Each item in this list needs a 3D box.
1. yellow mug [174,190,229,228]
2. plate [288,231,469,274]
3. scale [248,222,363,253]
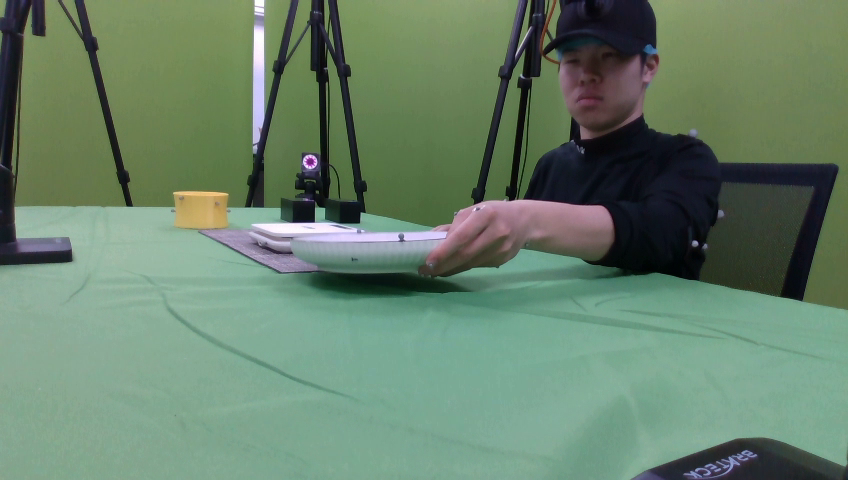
[{"bbox_3d":[-0.427,-0.063,1.189,0.100,0.064,0.131,5,7,14],"label":"yellow mug"},{"bbox_3d":[-0.052,0.012,0.700,0.209,0.038,0.209,0,4,0],"label":"plate"},{"bbox_3d":[-0.162,-0.006,0.954,0.202,0.031,0.148,-1,9,-32],"label":"scale"}]
